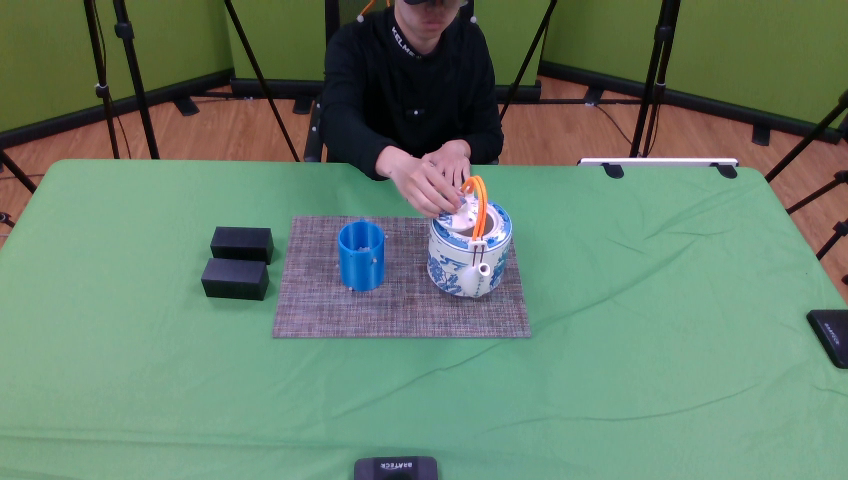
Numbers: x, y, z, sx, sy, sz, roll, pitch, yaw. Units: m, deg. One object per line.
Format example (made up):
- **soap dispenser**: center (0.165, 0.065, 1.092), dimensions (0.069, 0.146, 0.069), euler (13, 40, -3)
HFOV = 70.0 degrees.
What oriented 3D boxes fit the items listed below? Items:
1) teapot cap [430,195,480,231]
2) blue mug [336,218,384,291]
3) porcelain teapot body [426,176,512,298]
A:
- **teapot cap**: center (0.053, -0.051, 1.023), dimensions (0.085, 0.044, 0.084), euler (3, 46, -3)
- **blue mug**: center (-0.115, 0.018, 1.111), dimensions (0.082, 0.106, 0.116), euler (1, 46, -3)
- **porcelain teapot body**: center (0.085, 0.009, 1.051), dimensions (0.145, 0.226, 0.204), euler (-5, 47, -8)
